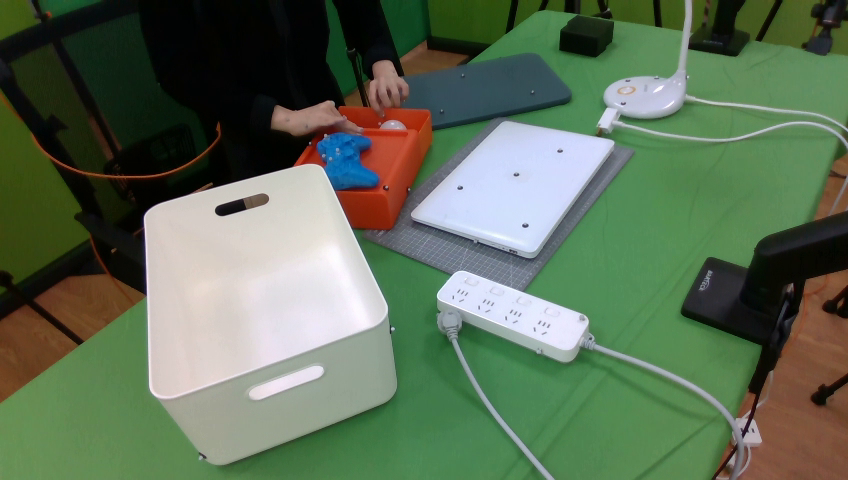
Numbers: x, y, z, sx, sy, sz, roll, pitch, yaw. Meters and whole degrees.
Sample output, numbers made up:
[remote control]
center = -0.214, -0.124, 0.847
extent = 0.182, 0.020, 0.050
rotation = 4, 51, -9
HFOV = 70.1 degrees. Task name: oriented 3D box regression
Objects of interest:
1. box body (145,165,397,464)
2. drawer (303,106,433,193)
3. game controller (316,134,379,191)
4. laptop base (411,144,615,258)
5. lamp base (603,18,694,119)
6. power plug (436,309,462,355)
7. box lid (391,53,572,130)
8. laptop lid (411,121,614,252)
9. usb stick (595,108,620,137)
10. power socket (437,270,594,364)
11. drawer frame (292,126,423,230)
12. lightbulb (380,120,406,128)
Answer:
[box body]
center = -0.205, 0.080, 0.802
extent = 0.255, 0.161, 0.361
rotation = -18, 41, -13
[drawer]
center = -0.104, -0.173, 1.146
extent = 0.194, 0.073, 0.211
rotation = 6, 41, 14
[game controller]
center = -0.134, -0.139, 1.031
extent = 0.097, 0.052, 0.154
rotation = -14, 39, -1
[laptop base]
center = 0.167, -0.102, 1.074
extent = 0.234, 0.023, 0.355
rotation = 16, 45, 30
[lamp base]
center = 0.460, -0.355, 1.205
extent = 0.179, 0.181, 0.160
rotation = 2, 41, 7
[power plug]
center = 0.032, 0.126, 0.810
extent = 0.035, 0.053, 0.072
rotation = 3, 59, 7
[box lid]
center = 0.122, -0.339, 1.366
extent = 0.372, 0.015, 0.261
rotation = -12, 40, -5
[laptop lid]
center = 0.164, -0.112, 1.068
extent = 0.240, 0.013, 0.357
rotation = 19, 46, 30
[usb stick]
center = 0.355, -0.225, 1.175
extent = 0.027, 0.022, 0.059
rotation = 29, 85, 40
[power socket]
center = 0.118, 0.102, 0.830
extent = 0.225, 0.033, 0.072
rotation = 20, 48, 28
[drawer frame]
center = -0.125, -0.118, 1.085
extent = 0.201, 0.083, 0.213
rotation = 4, 41, 14
[lightbulb]
center = -0.054, -0.187, 1.172
extent = 0.060, 0.060, 0.107
rotation = -14, 55, -9
